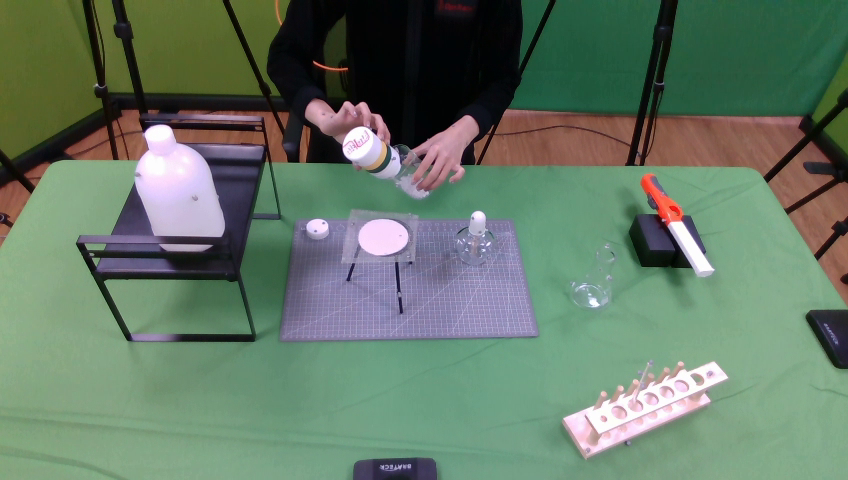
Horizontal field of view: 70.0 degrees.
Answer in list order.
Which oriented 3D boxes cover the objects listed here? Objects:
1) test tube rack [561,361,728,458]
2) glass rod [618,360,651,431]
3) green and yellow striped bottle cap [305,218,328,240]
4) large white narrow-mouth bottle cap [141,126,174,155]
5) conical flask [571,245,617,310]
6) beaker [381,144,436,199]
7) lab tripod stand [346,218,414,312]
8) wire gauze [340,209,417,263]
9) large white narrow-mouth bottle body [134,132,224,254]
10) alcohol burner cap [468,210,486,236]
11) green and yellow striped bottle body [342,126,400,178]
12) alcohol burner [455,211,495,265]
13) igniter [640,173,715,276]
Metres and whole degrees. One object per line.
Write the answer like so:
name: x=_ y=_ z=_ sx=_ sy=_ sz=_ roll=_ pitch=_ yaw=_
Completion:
test tube rack: x=0.341 y=0.248 z=0.940 sx=0.243 sy=0.085 sz=0.066 roll=-15 pitch=49 yaw=-18
glass rod: x=0.298 y=0.227 z=0.865 sx=0.008 sy=0.201 sz=0.008 roll=-2 pitch=47 yaw=2
green and yellow striped bottle cap: x=-0.214 y=-0.022 z=1.203 sx=0.045 sy=0.020 sz=0.045 roll=4 pitch=46 yaw=-4
large white narrow-mouth bottle cap: x=-0.356 y=-0.133 z=0.810 sx=0.038 sy=0.024 sz=0.037 roll=2 pitch=48 yaw=-1
conical flask: x=0.313 y=0.064 z=1.089 sx=0.075 sy=0.122 sz=0.075 roll=2 pitch=46 yaw=-2
beaker: x=-0.027 y=-0.129 z=1.160 sx=0.084 sy=0.101 sz=0.073 roll=-19 pitch=58 yaw=28
lab tripod stand: x=-0.070 y=0.037 z=1.075 sx=0.148 sy=0.132 sz=0.147 roll=1 pitch=48 yaw=-1
wire gauze: x=-0.074 y=-0.007 z=1.023 sx=0.121 sy=0.011 sz=0.124 roll=3 pitch=46 yaw=0
large white narrow-mouth bottle body: x=-0.358 y=-0.075 z=0.875 sx=0.102 sy=0.195 sz=0.101 roll=1 pitch=48 yaw=-1
alcohol burner cap: x=0.100 y=-0.034 z=1.119 sx=0.034 sy=0.048 sz=0.033 roll=0 pitch=53 yaw=0
green and yellow striped bottle body: x=-0.089 y=-0.152 z=1.086 sx=0.063 sy=0.120 sz=0.063 roll=-9 pitch=70 yaw=26
alcohol burner: x=0.098 y=-0.010 z=1.147 sx=0.078 sy=0.120 sz=0.077 roll=1 pitch=47 yaw=-1
igniter: x=0.495 y=-0.039 z=1.204 sx=0.057 sy=0.025 sz=0.274 roll=-2 pitch=47 yaw=-12
